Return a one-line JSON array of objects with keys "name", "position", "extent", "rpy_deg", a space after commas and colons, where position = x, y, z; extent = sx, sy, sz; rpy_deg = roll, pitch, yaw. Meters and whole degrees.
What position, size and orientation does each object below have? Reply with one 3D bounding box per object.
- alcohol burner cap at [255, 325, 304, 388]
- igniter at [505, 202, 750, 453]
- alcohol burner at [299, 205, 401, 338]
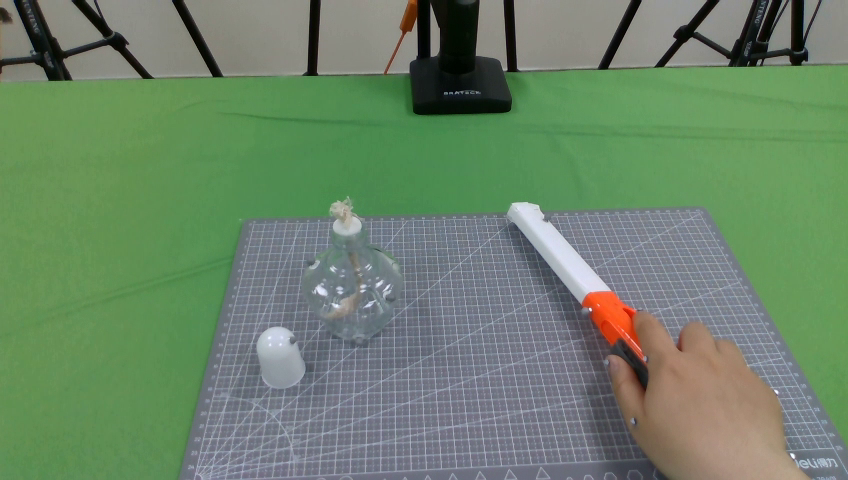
[{"name": "alcohol burner cap", "position": [-0.107, 0.082, 0.441], "extent": [0.034, 0.048, 0.033], "rpy_deg": [1, 44, 0]}, {"name": "igniter", "position": [0.145, 0.054, 0.483], "extent": [0.057, 0.025, 0.273], "rpy_deg": [0, 37, -30]}, {"name": "alcohol burner", "position": [-0.056, 0.019, 0.456], "extent": [0.078, 0.120, 0.077], "rpy_deg": [2, 44, -2]}]
